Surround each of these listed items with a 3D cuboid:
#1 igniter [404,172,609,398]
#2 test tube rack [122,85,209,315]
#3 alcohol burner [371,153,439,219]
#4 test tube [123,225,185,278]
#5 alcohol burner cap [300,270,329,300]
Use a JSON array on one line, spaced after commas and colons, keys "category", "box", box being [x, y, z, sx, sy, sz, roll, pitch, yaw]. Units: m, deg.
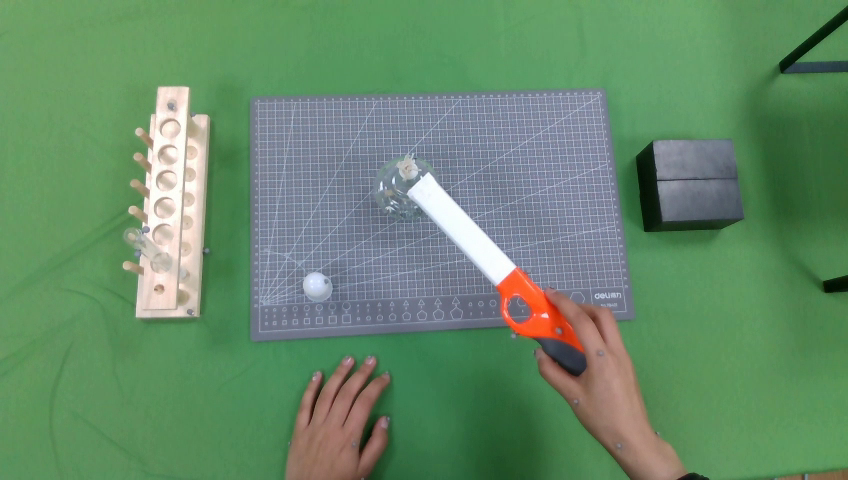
[{"category": "igniter", "box": [0.084, 0.045, 0.596, 0.057, 0.025, 0.276, -43, 90, -2]}, {"category": "test tube rack", "box": [-0.289, -0.042, 0.671, 0.067, 0.085, 0.241, 0, 78, -4]}, {"category": "alcohol burner", "box": [-0.021, -0.065, 0.680, 0.078, 0.119, 0.077, 1, 79, -3]}, {"category": "test tube", "box": [-0.268, 0.015, 0.610, 0.017, 0.151, 0.017, 2, 73, -5]}, {"category": "alcohol burner cap", "box": [-0.125, 0.049, 0.683, 0.034, 0.048, 0.033, 1, 78, -5]}]
